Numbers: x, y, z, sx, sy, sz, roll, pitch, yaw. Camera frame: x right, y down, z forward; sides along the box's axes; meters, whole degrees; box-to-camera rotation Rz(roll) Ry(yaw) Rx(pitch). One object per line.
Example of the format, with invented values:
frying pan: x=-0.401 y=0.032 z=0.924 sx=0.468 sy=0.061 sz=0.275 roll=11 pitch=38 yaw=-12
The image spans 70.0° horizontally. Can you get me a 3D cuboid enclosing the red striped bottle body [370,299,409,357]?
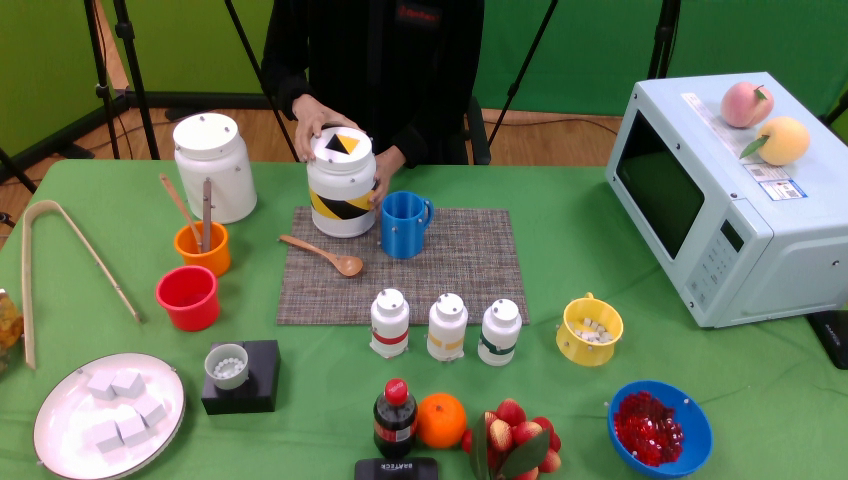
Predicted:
red striped bottle body: x=-0.057 y=0.135 z=0.997 sx=0.063 sy=0.120 sz=0.062 roll=2 pitch=47 yaw=-2

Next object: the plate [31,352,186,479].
plate: x=-0.459 y=0.262 z=0.898 sx=0.209 sy=0.038 sz=0.208 roll=2 pitch=46 yaw=-2

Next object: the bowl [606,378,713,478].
bowl: x=0.340 y=0.292 z=0.906 sx=0.151 sy=0.077 sz=0.150 roll=2 pitch=46 yaw=-2

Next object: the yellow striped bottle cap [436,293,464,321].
yellow striped bottle cap: x=0.041 y=0.106 z=0.959 sx=0.044 sy=0.019 sz=0.044 roll=-1 pitch=50 yaw=1

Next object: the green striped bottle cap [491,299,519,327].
green striped bottle cap: x=0.128 y=0.115 z=0.958 sx=0.044 sy=0.020 sz=0.044 roll=1 pitch=46 yaw=-1

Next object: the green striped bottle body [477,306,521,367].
green striped bottle body: x=0.124 y=0.151 z=0.995 sx=0.063 sy=0.120 sz=0.063 roll=2 pitch=46 yaw=-2

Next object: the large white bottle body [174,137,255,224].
large white bottle body: x=-0.408 y=-0.136 z=1.183 sx=0.131 sy=0.185 sz=0.130 roll=2 pitch=46 yaw=-2

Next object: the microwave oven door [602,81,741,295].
microwave oven door: x=0.456 y=-0.107 z=1.162 sx=0.039 sy=0.245 sz=0.353 roll=-7 pitch=47 yaw=-11

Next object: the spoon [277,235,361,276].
spoon: x=-0.202 y=0.023 z=1.155 sx=0.193 sy=0.022 sz=0.041 roll=23 pitch=71 yaw=18

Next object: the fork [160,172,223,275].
fork: x=-0.425 y=-0.030 z=1.103 sx=0.028 sy=0.018 sz=0.207 roll=-29 pitch=98 yaw=-19

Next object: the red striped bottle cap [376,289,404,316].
red striped bottle cap: x=-0.054 y=0.098 z=0.959 sx=0.044 sy=0.018 sz=0.044 roll=0 pitch=48 yaw=0

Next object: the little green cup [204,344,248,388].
little green cup: x=-0.294 y=0.191 z=0.909 sx=0.061 sy=0.039 sz=0.061 roll=1 pitch=48 yaw=-1

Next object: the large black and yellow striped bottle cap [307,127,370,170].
large black and yellow striped bottle cap: x=-0.156 y=-0.169 z=1.112 sx=0.115 sy=0.019 sz=0.114 roll=4 pitch=44 yaw=-4

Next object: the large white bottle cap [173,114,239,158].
large white bottle cap: x=-0.403 y=-0.195 z=1.122 sx=0.115 sy=0.018 sz=0.114 roll=2 pitch=47 yaw=-2

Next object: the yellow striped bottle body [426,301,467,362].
yellow striped bottle body: x=0.037 y=0.142 z=0.996 sx=0.063 sy=0.121 sz=0.062 roll=2 pitch=46 yaw=-2

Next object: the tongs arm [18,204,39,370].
tongs arm: x=-0.698 y=0.069 z=1.069 sx=0.028 sy=0.028 sz=0.385 roll=-20 pitch=50 yaw=-13

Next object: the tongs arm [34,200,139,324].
tongs arm: x=-0.622 y=0.034 z=1.105 sx=0.051 sy=0.026 sz=0.382 roll=-32 pitch=56 yaw=-25

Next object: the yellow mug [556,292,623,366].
yellow mug: x=0.285 y=0.145 z=1.051 sx=0.100 sy=0.064 sz=0.130 roll=7 pitch=45 yaw=3

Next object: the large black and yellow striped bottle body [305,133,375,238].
large black and yellow striped bottle body: x=-0.160 y=-0.109 z=1.173 sx=0.131 sy=0.185 sz=0.130 roll=2 pitch=46 yaw=-2

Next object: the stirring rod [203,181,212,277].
stirring rod: x=-0.396 y=-0.021 z=1.108 sx=0.014 sy=0.006 sz=0.176 roll=-1 pitch=89 yaw=-1

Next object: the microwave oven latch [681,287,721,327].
microwave oven latch: x=0.494 y=0.119 z=1.087 sx=0.030 sy=0.029 sz=0.078 roll=-6 pitch=46 yaw=-9

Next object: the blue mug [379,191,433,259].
blue mug: x=-0.031 y=-0.035 z=1.167 sx=0.116 sy=0.106 sz=0.082 roll=-26 pitch=54 yaw=-27

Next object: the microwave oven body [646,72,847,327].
microwave oven body: x=0.607 y=-0.089 z=1.164 sx=0.326 sy=0.261 sz=0.438 roll=-7 pitch=46 yaw=-10
